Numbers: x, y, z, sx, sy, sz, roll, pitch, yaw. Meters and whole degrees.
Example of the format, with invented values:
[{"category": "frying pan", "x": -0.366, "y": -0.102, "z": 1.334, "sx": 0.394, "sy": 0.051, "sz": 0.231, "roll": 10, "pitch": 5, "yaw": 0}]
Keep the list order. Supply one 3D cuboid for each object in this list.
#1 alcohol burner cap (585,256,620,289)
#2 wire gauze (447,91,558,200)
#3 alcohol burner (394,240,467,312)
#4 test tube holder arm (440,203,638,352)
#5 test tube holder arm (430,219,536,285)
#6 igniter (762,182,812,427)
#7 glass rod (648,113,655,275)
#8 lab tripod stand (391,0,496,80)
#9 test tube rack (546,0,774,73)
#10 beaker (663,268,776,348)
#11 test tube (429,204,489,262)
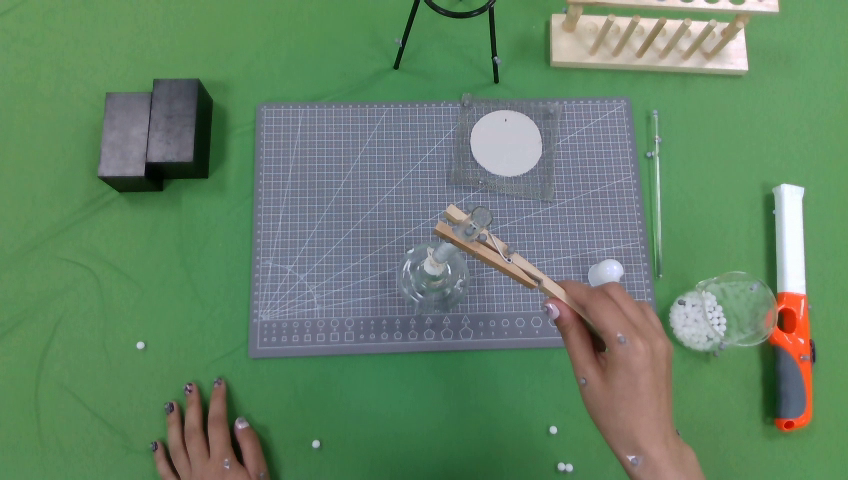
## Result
[{"category": "alcohol burner cap", "x": 0.199, "y": 0.034, "z": 0.668, "sx": 0.034, "sy": 0.048, "sz": 0.033, "roll": 0, "pitch": 76, "yaw": -2}, {"category": "wire gauze", "x": 0.095, "y": -0.115, "z": 0.718, "sx": 0.125, "sy": 0.011, "sz": 0.121, "roll": 10, "pitch": 77, "yaw": 0}, {"category": "alcohol burner", "x": 0.007, "y": 0.033, "z": 0.625, "sx": 0.078, "sy": 0.119, "sz": 0.077, "roll": 0, "pitch": 75, "yaw": 0}, {"category": "test tube holder arm", "x": 0.086, "y": 0.029, "z": 0.454, "sx": 0.178, "sy": 0.015, "sz": 0.013, "roll": 35, "pitch": 81, "yaw": -1}, {"category": "test tube holder arm", "x": 0.045, "y": 0.010, "z": 0.453, "sx": 0.088, "sy": 0.015, "sz": 0.010, "roll": 27, "pitch": 80, "yaw": -2}, {"category": "igniter", "x": 0.405, "y": 0.068, "z": 0.678, "sx": 0.057, "sy": 0.025, "sz": 0.275, "roll": 9, "pitch": 76, "yaw": -10}, {"category": "glass rod", "x": 0.268, "y": -0.057, "z": 0.712, "sx": 0.008, "sy": 0.008, "sz": 0.199, "roll": 4, "pitch": 79, "yaw": -1}, {"category": "lab tripod stand", "x": 0.029, "y": -0.254, "z": 0.688, "sx": 0.148, "sy": 0.132, "sz": 0.147, "roll": 0, "pitch": 78, "yaw": -1}, {"category": "test tube rack", "x": 0.275, "y": -0.255, "z": 0.721, "sx": 0.242, "sy": 0.085, "sz": 0.066, "roll": 2, "pitch": 76, "yaw": -1}, {"category": "beaker", "x": 0.301, "y": 0.074, "z": 0.636, "sx": 0.084, "sy": 0.101, "sz": 0.074, "roll": 30, "pitch": 76, "yaw": 7}, {"category": "test tube", "x": 0.024, "y": -0.002, "z": 0.474, "sx": 0.017, "sy": 0.150, "sz": 0.017, "roll": 2, "pitch": 78, "yaw": -10}]
